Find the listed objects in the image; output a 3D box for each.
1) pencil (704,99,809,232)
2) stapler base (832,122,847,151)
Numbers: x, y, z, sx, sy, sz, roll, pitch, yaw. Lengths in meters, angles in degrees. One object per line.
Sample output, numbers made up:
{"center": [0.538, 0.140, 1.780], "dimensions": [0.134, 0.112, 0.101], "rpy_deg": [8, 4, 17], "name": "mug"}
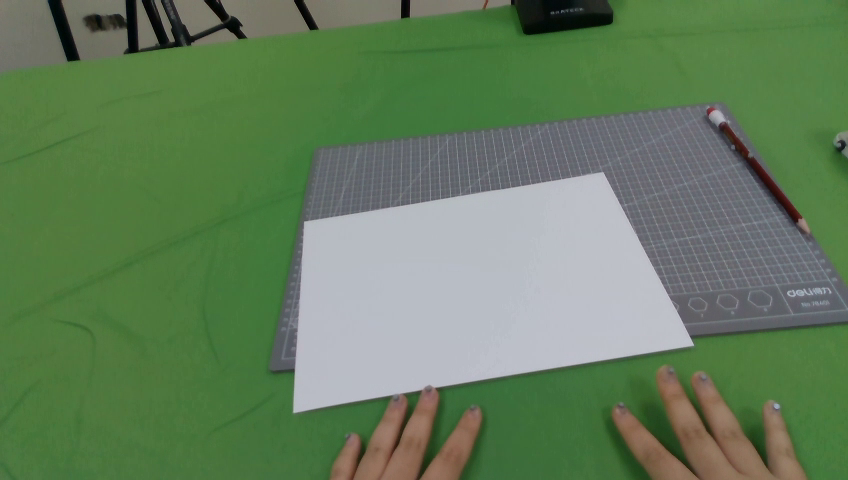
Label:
{"center": [0.307, -0.076, 0.565], "dimensions": [0.012, 0.012, 0.192], "rpy_deg": [-9, 46, 1], "name": "pencil"}
{"center": [0.418, -0.072, 0.538], "dimensions": [0.041, 0.025, 0.129], "rpy_deg": [-11, 47, 2], "name": "stapler base"}
